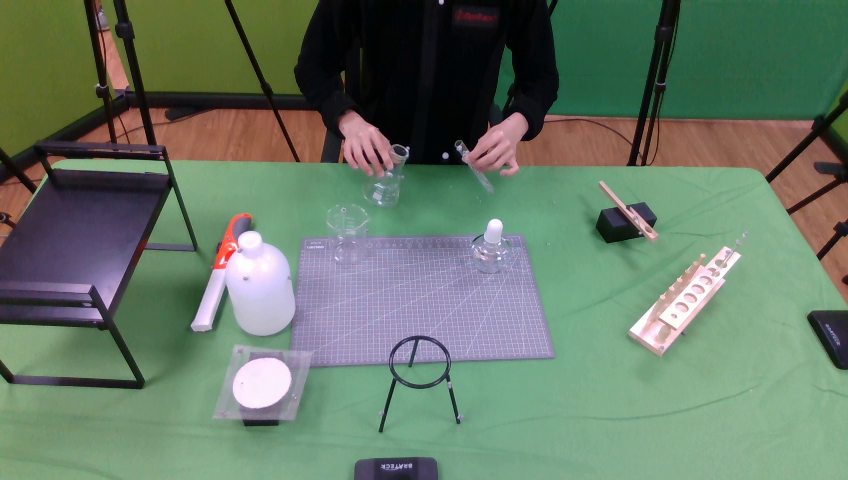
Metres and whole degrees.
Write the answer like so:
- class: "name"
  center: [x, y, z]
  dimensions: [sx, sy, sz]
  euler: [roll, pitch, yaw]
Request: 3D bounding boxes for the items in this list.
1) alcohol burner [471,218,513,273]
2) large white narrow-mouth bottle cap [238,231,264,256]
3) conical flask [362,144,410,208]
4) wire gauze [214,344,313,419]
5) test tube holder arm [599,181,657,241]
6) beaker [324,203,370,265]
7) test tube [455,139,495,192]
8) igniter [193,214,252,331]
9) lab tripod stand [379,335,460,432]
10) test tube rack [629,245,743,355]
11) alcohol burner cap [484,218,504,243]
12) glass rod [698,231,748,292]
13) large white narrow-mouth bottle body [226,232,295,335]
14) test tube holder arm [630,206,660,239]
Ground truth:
- class: "alcohol burner"
  center: [0.128, 0.005, 1.132]
  dimensions: [0.078, 0.120, 0.077]
  euler: [0, 47, 0]
- class: "large white narrow-mouth bottle cap"
  center: [-0.266, 0.006, 0.932]
  dimensions: [0.038, 0.024, 0.037]
  euler: [2, 46, -2]
- class: "conical flask"
  center: [-0.066, -0.126, 1.152]
  dimensions: [0.075, 0.122, 0.075]
  euler: [15, 44, -15]
- class: "wire gauze"
  center: [-0.241, 0.213, 0.915]
  dimensions: [0.121, 0.011, 0.124]
  euler: [5, 46, 1]
- class: "test tube holder arm"
  center: [0.407, -0.062, 1.219]
  dimensions: [0.013, 0.015, 0.177]
  euler: [-23, 51, -13]
- class: "beaker"
  center: [-0.142, -0.009, 1.137]
  dimensions: [0.084, 0.101, 0.073]
  euler: [-3, 47, -7]
- class: "test tube"
  center: [0.097, -0.136, 1.126]
  dimensions: [0.017, 0.151, 0.017]
  euler: [-18, 50, 24]
- class: "igniter"
  center: [-0.368, 0.050, 1.119]
  dimensions: [0.057, 0.025, 0.275]
  euler: [-3, 46, 8]
- class: "lab tripod stand"
  center: [-0.010, 0.214, 0.911]
  dimensions: [0.148, 0.132, 0.147]
  euler: [1, 45, 0]
- class: "test tube rack"
  center: [0.474, 0.095, 1.091]
  dimensions: [0.242, 0.085, 0.066]
  euler: [-34, 56, -31]
- class: "alcohol burner cap"
  center: [0.130, -0.021, 1.106]
  dimensions: [0.034, 0.048, 0.033]
  euler: [3, 51, -4]
- class: "glass rod"
  center: [0.514, 0.044, 1.051]
  dimensions: [0.008, 0.200, 0.008]
  euler: [1, 55, -1]
- class: "large white narrow-mouth bottle body"
  center: [-0.270, 0.065, 0.995]
  dimensions: [0.102, 0.195, 0.101]
  euler: [2, 46, -2]
- class: "test tube holder arm"
  center: [0.431, -0.034, 1.192]
  dimensions: [0.010, 0.015, 0.087]
  euler: [-23, 51, -12]
